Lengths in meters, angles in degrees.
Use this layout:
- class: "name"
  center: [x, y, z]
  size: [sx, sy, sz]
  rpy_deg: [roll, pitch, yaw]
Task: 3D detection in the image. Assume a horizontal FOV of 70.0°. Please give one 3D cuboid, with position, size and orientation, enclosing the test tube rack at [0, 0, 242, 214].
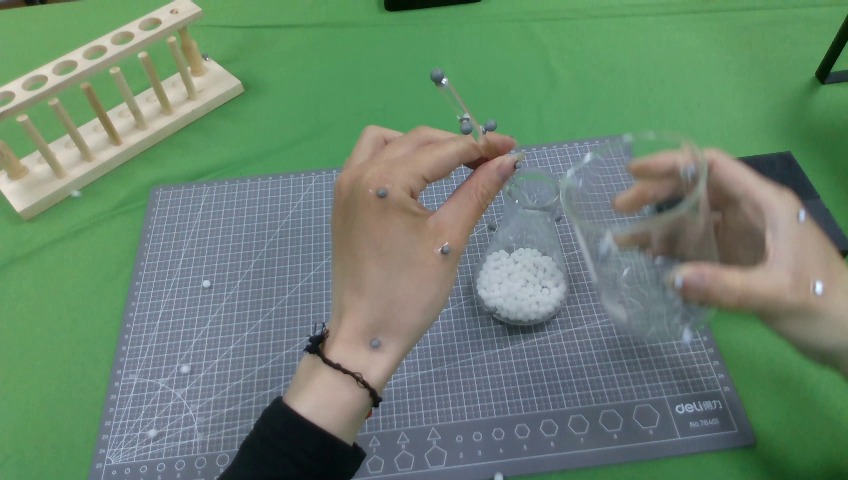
- class: "test tube rack"
  center: [-0.304, -0.137, 0.579]
  size: [0.242, 0.086, 0.066]
  rpy_deg: [-40, 61, -23]

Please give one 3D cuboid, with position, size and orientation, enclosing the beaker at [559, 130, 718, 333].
- class: "beaker"
  center: [0.124, -0.001, 0.348]
  size: [0.083, 0.101, 0.074]
  rpy_deg: [21, 61, 45]

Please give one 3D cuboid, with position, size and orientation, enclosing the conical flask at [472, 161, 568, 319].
- class: "conical flask"
  center: [0.072, -0.002, 0.435]
  size: [0.075, 0.123, 0.074]
  rpy_deg: [-2, 54, 3]

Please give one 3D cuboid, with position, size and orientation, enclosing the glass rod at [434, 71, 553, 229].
- class: "glass rod"
  center: [0.049, -0.041, 0.353]
  size: [0.008, 0.201, 0.008]
  rpy_deg: [-9, 68, 24]
